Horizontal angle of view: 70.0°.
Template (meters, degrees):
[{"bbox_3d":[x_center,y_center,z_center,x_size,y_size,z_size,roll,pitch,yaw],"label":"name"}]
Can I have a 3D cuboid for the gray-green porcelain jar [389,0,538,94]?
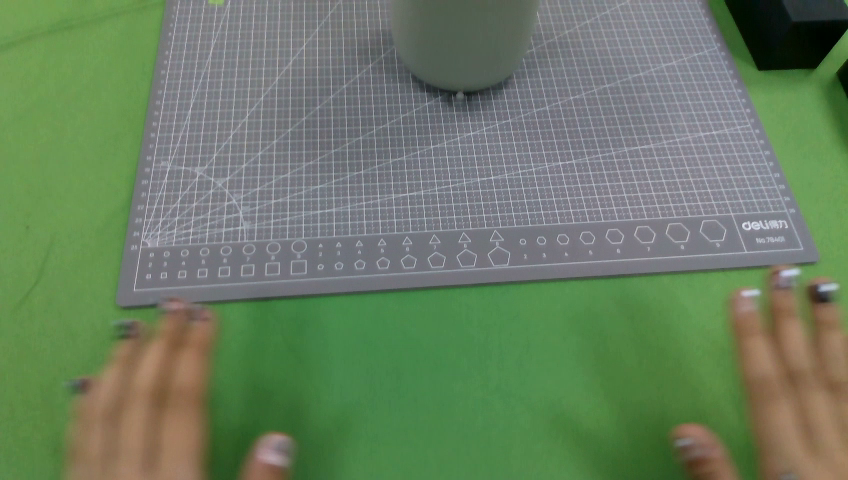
[{"bbox_3d":[0.028,-0.176,0.422,0.106,0.127,0.105,1,61,-2],"label":"gray-green porcelain jar"}]
